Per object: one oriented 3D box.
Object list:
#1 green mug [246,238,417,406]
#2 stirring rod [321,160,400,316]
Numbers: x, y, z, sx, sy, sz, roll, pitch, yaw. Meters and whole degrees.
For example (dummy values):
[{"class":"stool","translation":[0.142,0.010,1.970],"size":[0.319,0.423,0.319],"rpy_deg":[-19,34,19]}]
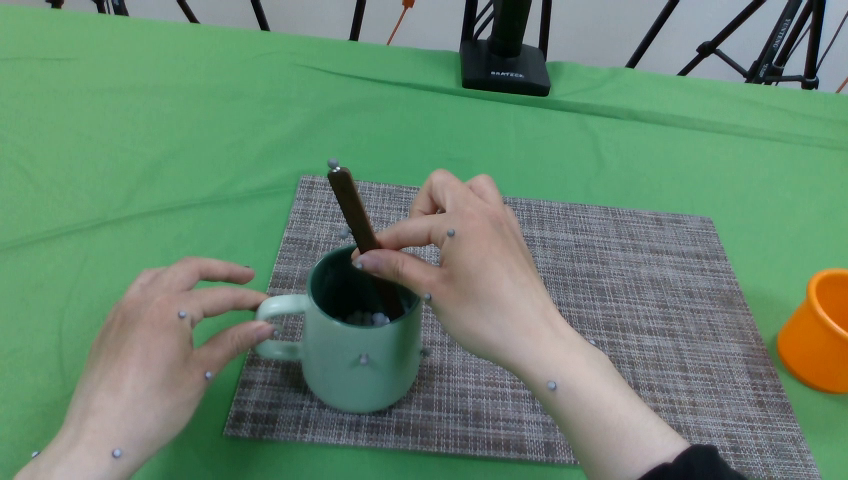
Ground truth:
[{"class":"green mug","translation":[-0.066,0.063,0.445],"size":[0.125,0.106,0.091],"rpy_deg":[-2,46,-11]},{"class":"stirring rod","translation":[-0.035,0.015,0.404],"size":[0.014,0.178,0.005],"rpy_deg":[-7,47,9]}]
